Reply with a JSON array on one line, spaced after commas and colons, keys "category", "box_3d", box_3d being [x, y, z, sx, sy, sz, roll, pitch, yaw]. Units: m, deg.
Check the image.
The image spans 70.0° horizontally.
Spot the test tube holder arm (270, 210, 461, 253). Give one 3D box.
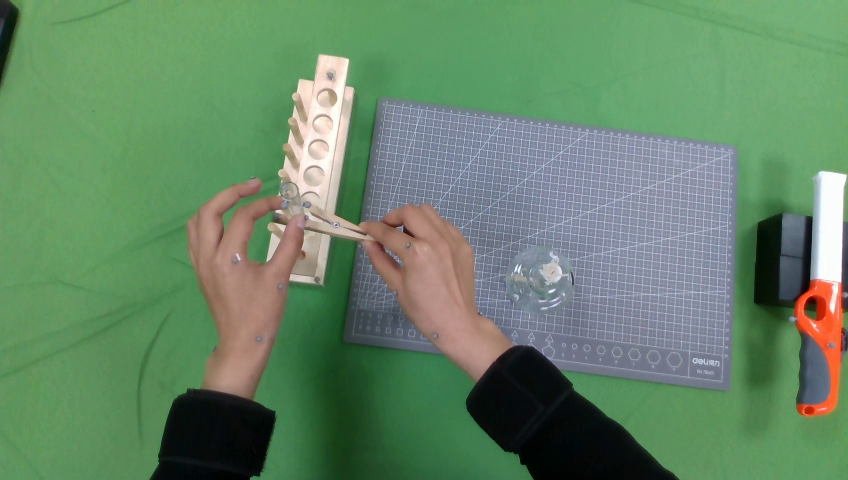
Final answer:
[{"category": "test tube holder arm", "box_3d": [-0.054, -0.008, 0.566, 0.178, 0.015, 0.013, 11, 73, 1]}]

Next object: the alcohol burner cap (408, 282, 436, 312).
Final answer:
[{"category": "alcohol burner cap", "box_3d": [-0.002, 0.062, 0.680, 0.034, 0.048, 0.033, 1, 79, -3]}]

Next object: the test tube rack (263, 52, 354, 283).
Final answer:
[{"category": "test tube rack", "box_3d": [-0.132, -0.080, 0.678, 0.067, 0.085, 0.241, 8, 80, -2]}]

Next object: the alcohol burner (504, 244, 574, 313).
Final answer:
[{"category": "alcohol burner", "box_3d": [0.128, 0.040, 0.655, 0.078, 0.119, 0.077, 0, 81, -2]}]

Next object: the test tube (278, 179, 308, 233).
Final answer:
[{"category": "test tube", "box_3d": [-0.119, -0.028, 0.562, 0.017, 0.150, 0.017, 1, 79, -6]}]

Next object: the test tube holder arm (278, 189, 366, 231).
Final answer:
[{"category": "test tube holder arm", "box_3d": [-0.095, -0.025, 0.569, 0.087, 0.015, 0.010, 25, 73, 5]}]

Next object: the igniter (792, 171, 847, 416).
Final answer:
[{"category": "igniter", "box_3d": [0.440, 0.057, 0.671, 0.057, 0.025, 0.275, 10, 79, 5]}]
